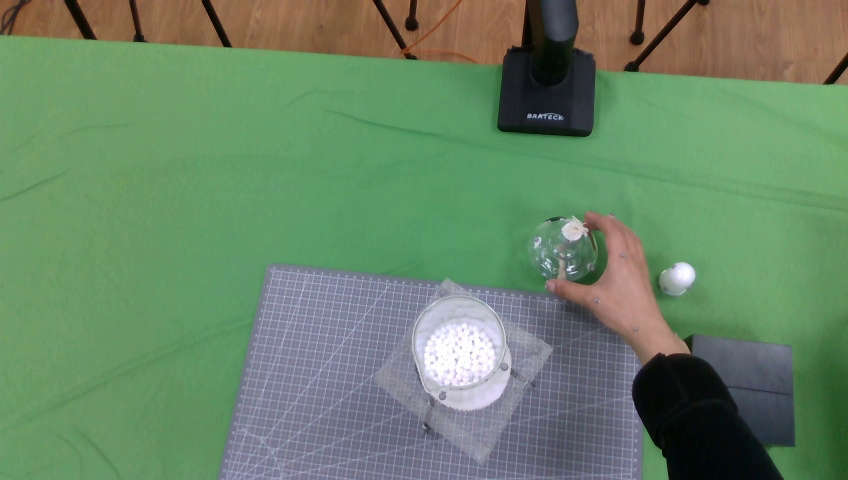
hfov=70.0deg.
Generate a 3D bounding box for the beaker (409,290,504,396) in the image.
[{"bbox_3d":[0.025,0.095,0.512,0.073,0.101,0.084,30,75,13],"label":"beaker"}]

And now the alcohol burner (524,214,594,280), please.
[{"bbox_3d":[0.152,0.003,0.668,0.078,0.120,0.077,0,71,2],"label":"alcohol burner"}]

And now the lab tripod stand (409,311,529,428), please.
[{"bbox_3d":[0.040,0.129,0.620,0.148,0.132,0.147,-1,70,2],"label":"lab tripod stand"}]

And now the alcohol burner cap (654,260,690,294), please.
[{"bbox_3d":[0.282,0.040,0.685,0.034,0.048,0.033,-1,71,4],"label":"alcohol burner cap"}]

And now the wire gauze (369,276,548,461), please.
[{"bbox_3d":[0.032,0.113,0.556,0.124,0.011,0.121,35,78,11],"label":"wire gauze"}]
